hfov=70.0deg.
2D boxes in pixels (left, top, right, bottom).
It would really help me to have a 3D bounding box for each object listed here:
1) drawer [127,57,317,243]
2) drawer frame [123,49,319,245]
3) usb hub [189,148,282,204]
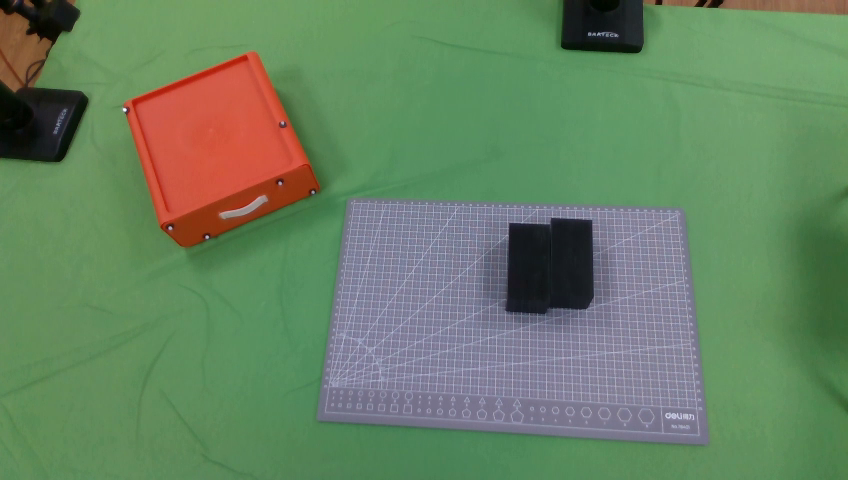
[{"bbox_3d":[-0.277,-0.128,0.832,0.194,0.074,0.210,-25,68,-6],"label":"drawer"},{"bbox_3d":[-0.279,-0.129,0.832,0.202,0.083,0.211,-26,66,-7],"label":"drawer frame"},{"bbox_3d":[-0.259,-0.088,0.830,0.125,0.025,0.049,-12,67,4],"label":"usb hub"}]
